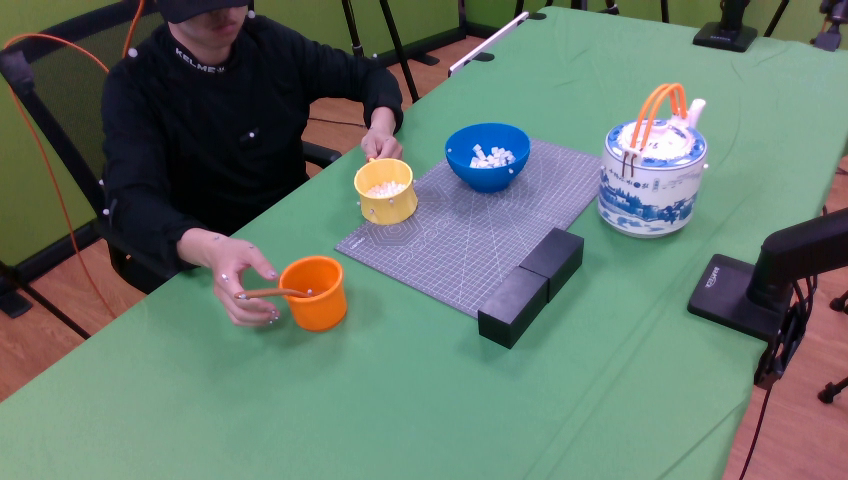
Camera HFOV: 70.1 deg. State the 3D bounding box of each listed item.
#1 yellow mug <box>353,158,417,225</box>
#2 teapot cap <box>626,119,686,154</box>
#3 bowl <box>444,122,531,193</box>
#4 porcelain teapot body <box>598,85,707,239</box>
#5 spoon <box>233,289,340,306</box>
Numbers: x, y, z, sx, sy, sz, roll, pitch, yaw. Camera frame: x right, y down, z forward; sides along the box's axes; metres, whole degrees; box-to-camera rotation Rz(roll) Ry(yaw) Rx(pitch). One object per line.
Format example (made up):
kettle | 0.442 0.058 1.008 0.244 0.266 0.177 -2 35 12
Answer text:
yellow mug | -0.072 -0.093 1.037 0.100 0.064 0.130 -22 49 -12
teapot cap | 0.338 -0.153 0.882 0.085 0.044 0.085 -3 38 3
bowl | 0.113 -0.136 1.063 0.151 0.077 0.150 -4 41 4
porcelain teapot body | 0.363 -0.137 0.921 0.144 0.226 0.206 28 51 36
spoon | -0.181 0.075 0.811 0.041 0.195 0.021 15 90 30
